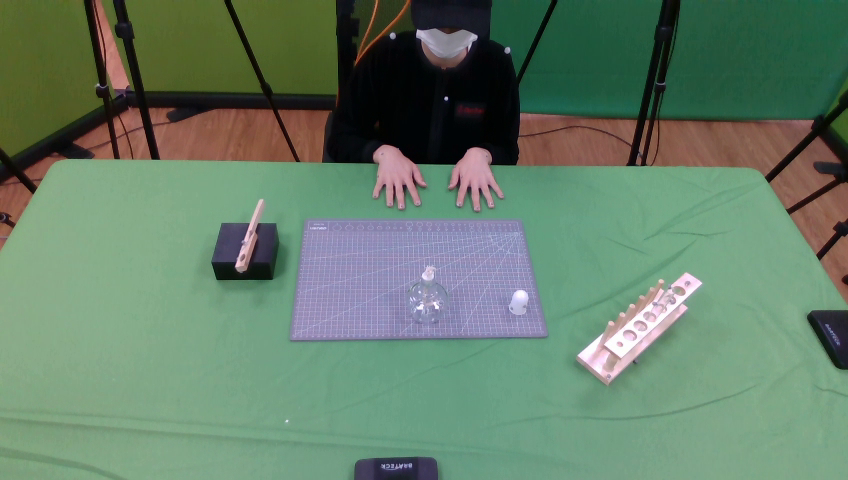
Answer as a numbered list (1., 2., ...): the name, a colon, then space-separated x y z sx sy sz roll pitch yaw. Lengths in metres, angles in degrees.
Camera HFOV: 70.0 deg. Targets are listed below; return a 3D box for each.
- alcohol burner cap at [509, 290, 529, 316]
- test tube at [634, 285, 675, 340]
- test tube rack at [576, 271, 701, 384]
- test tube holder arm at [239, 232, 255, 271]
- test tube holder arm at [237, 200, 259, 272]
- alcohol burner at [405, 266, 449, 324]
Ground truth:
1. alcohol burner cap: 0.171 0.110 1.086 0.034 0.048 0.033 2 45 -1
2. test tube: 0.375 0.122 0.994 0.017 0.151 0.017 3 50 -3
3. test tube rack: 0.373 0.138 1.047 0.242 0.085 0.066 -31 56 -29
4. test tube holder arm: -0.317 0.020 1.089 0.010 0.015 0.087 2 45 -2
5. test tube holder arm: -0.324 -0.012 1.120 0.013 0.015 0.177 0 45 -4
6. alcohol burner: 0.005 0.089 1.044 0.078 0.120 0.077 1 45 -1
